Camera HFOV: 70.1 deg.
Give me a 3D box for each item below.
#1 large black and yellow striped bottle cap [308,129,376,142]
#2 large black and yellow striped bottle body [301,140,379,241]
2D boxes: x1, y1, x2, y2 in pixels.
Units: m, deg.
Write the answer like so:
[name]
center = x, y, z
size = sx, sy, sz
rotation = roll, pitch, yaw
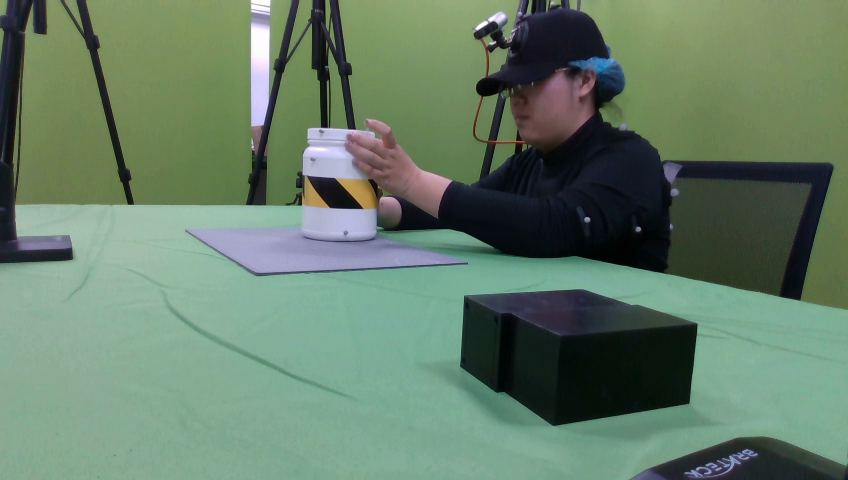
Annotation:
[large black and yellow striped bottle cap]
center = -0.140, -0.178, 1.034
size = 0.115, 0.019, 0.115
rotation = 1, 8, 0
[large black and yellow striped bottle body]
center = -0.144, -0.095, 1.046
size = 0.131, 0.184, 0.130
rotation = 3, 7, 0
